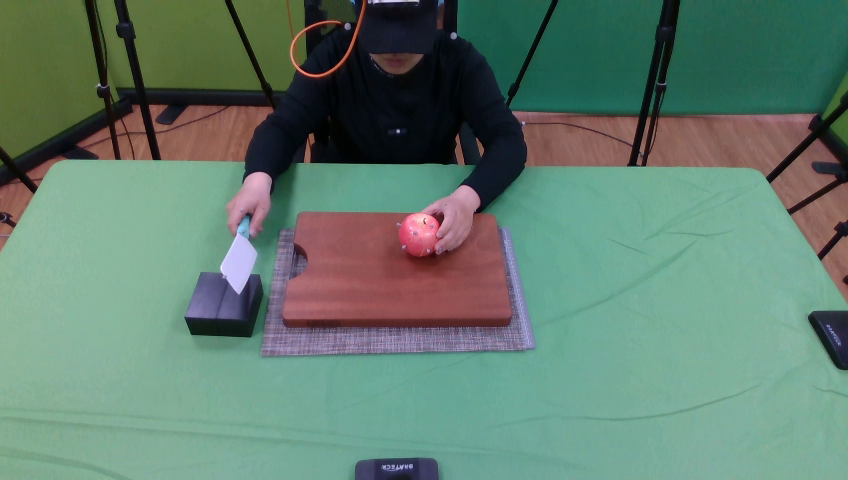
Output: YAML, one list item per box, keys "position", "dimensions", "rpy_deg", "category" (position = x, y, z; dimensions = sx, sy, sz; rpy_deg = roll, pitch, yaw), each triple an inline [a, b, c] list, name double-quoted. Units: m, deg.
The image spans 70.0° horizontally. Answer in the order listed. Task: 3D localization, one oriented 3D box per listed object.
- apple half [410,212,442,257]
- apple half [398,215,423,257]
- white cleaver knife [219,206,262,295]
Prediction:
- position: [0.005, -0.011, 1.135]
  dimensions: [0.053, 0.075, 0.080]
  rpy_deg: [-12, 44, -22]
  category: "apple half"
- position: [-0.030, -0.003, 1.121]
  dimensions: [0.033, 0.081, 0.080]
  rpy_deg: [-13, 48, -22]
  category: "apple half"
- position: [-0.326, 0.013, 1.102]
  dimensions: [0.021, 0.066, 0.285]
  rpy_deg: [-23, 25, 7]
  category: "white cleaver knife"
